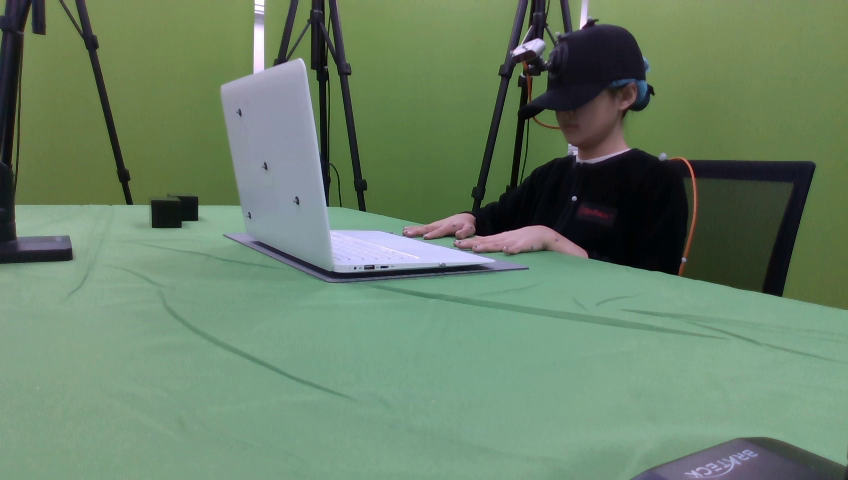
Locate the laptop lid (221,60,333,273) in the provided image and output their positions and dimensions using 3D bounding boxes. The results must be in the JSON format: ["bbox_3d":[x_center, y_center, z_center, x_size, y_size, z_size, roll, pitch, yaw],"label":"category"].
[{"bbox_3d":[-0.205,-0.098,0.794,0.013,0.241,0.355,-13,16,-30],"label":"laptop lid"}]

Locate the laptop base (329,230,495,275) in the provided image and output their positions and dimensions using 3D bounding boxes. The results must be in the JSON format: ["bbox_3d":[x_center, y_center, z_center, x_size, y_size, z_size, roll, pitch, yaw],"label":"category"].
[{"bbox_3d":[-0.093,0.015,0.883,0.237,0.023,0.352,3,6,-33],"label":"laptop base"}]
